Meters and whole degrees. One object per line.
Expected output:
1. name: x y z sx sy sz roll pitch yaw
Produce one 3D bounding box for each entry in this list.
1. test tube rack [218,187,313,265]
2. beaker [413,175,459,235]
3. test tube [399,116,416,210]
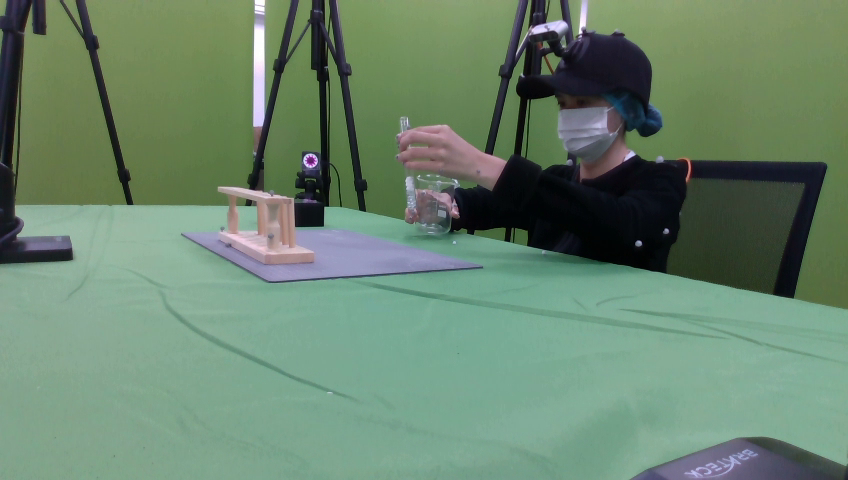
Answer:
1. test tube rack: -0.235 -0.027 0.872 0.067 0.085 0.241 -2 8 -32
2. beaker: 0.020 -0.064 1.110 0.084 0.100 0.074 10 17 16
3. test tube: -0.026 -0.118 0.927 0.017 0.150 0.017 -5 -13 -1
